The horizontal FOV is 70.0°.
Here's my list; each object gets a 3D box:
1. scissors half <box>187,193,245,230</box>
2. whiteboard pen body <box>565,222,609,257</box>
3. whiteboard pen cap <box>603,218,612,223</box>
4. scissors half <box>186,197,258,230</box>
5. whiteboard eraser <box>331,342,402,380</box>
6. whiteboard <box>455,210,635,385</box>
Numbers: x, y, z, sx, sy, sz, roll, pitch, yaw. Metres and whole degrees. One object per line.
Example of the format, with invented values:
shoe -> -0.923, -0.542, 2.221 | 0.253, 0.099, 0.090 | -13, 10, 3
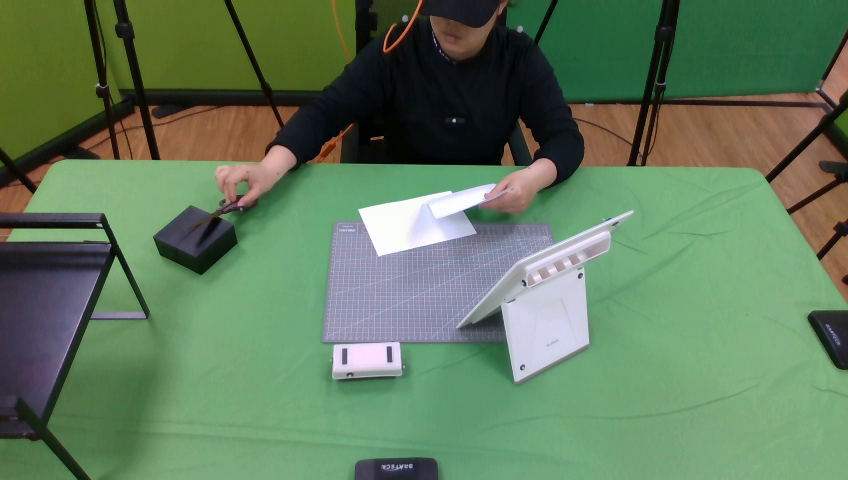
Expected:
scissors half -> -0.401, -0.055, 1.165 | 0.040, 0.013, 0.174 | 12, 28, 10
whiteboard pen body -> 0.334, -0.004, 1.229 | 0.141, 0.017, 0.017 | -33, 56, -29
whiteboard pen cap -> 0.378, -0.031, 1.255 | 0.033, 0.018, 0.018 | -34, 57, -30
scissors half -> -0.383, -0.048, 1.159 | 0.040, 0.013, 0.175 | 26, 33, 23
whiteboard eraser -> -0.094, 0.198, 0.986 | 0.113, 0.042, 0.055 | -2, 44, -6
whiteboard -> 0.211, 0.111, 0.955 | 0.217, 0.306, 0.143 | -20, 71, -23
